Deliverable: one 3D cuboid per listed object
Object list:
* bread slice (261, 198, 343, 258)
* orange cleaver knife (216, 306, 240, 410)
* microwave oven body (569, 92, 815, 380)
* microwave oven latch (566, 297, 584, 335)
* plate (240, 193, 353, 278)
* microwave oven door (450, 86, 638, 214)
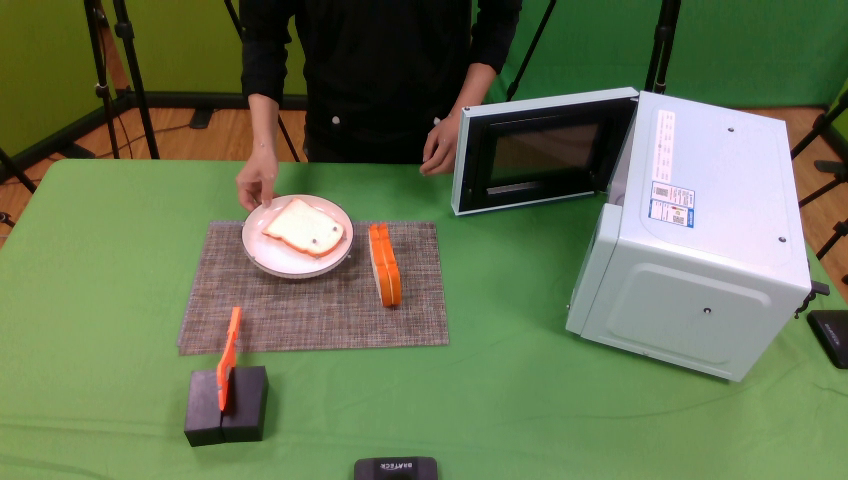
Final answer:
[{"bbox_3d":[-0.225,-0.020,1.164,0.134,0.018,0.106,23,52,11],"label":"bread slice"},{"bbox_3d":[-0.307,0.180,0.957,0.012,0.077,0.210,-2,25,-8],"label":"orange cleaver knife"},{"bbox_3d":[0.468,-0.022,1.082,0.325,0.261,0.440,15,46,11],"label":"microwave oven body"},{"bbox_3d":[0.268,0.126,1.059,0.030,0.029,0.079,16,46,12],"label":"microwave oven latch"},{"bbox_3d":[-0.240,-0.006,1.151,0.208,0.039,0.206,5,48,-5],"label":"plate"},{"bbox_3d":[0.234,-0.177,1.208,0.356,0.245,0.039,-10,48,-13],"label":"microwave oven door"}]
